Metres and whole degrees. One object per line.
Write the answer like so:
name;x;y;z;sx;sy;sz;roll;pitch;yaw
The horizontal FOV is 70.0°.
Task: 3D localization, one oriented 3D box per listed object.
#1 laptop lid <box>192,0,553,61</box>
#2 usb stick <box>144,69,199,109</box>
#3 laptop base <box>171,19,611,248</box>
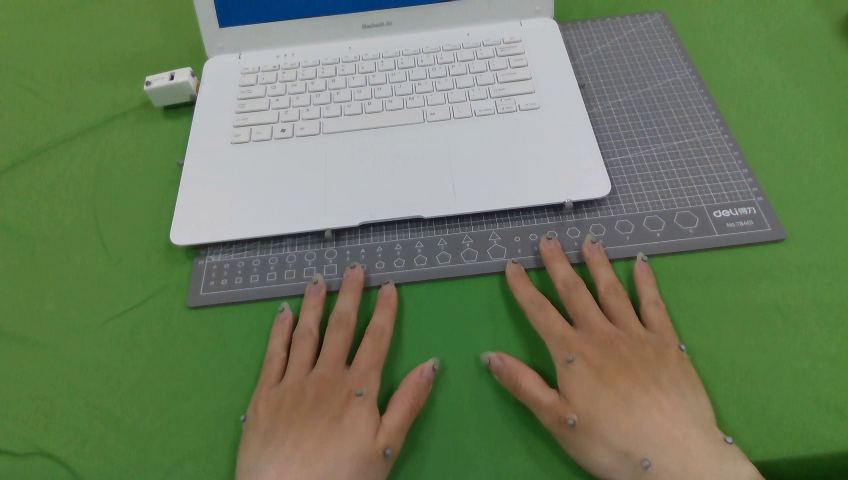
laptop lid;-0.058;-0.302;0.567;0.357;0.243;0.013;-8;24;1
usb stick;-0.234;-0.146;0.582;0.059;0.027;0.021;-9;53;0
laptop base;-0.035;-0.103;0.546;0.354;0.023;0.233;-7;56;1
